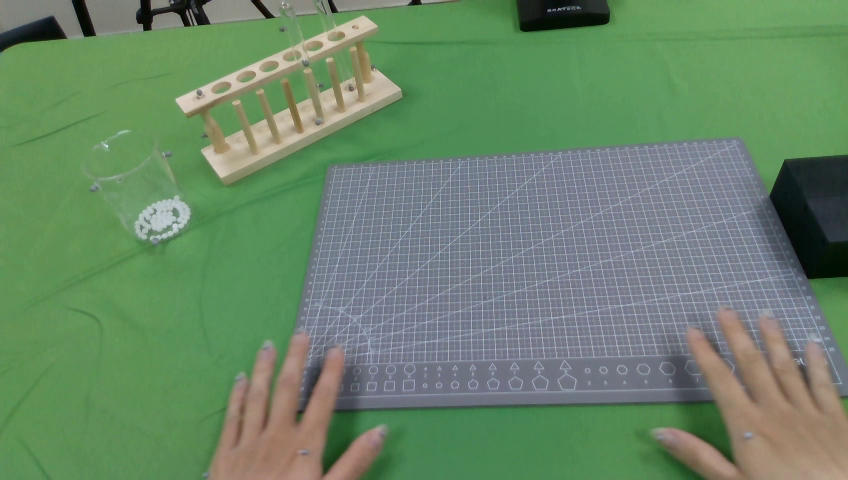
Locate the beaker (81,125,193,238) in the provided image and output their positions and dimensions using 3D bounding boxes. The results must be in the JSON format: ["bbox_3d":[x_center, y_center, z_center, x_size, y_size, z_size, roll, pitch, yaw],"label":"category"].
[{"bbox_3d":[-0.292,-0.058,0.624,0.083,0.101,0.074,30,60,30],"label":"beaker"}]

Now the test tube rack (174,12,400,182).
[{"bbox_3d":[-0.151,-0.171,0.710,0.242,0.086,0.066,-31,53,-17],"label":"test tube rack"}]

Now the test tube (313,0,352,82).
[{"bbox_3d":[-0.110,-0.247,0.703,0.017,0.152,0.017,-7,50,9],"label":"test tube"}]

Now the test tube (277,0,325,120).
[{"bbox_3d":[-0.134,-0.197,0.670,0.017,0.152,0.017,-5,48,5],"label":"test tube"}]
